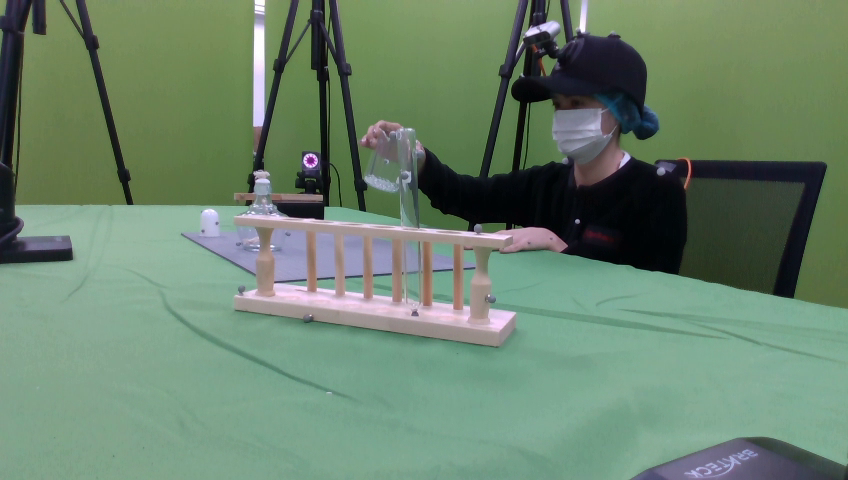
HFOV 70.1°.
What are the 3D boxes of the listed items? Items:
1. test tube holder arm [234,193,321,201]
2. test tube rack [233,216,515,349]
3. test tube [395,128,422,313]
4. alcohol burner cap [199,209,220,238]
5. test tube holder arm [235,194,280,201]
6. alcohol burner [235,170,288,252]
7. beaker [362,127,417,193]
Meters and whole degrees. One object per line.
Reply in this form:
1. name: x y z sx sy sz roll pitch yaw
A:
1. test tube holder arm: -0.299 -0.088 1.248 0.179 0.015 0.013 -1 16 -30
2. test tube rack: -0.045 0.029 0.526 0.241 0.085 0.067 5 7 19
3. test tube: -0.012 -0.015 0.491 0.017 0.150 0.017 -2 5 1
4. alcohol burner cap: -0.356 -0.027 1.002 0.034 0.048 0.034 2 7 0
5. test tube holder arm: -0.336 -0.086 1.221 0.088 0.015 0.010 -1 16 -29
6. alcohol burner: -0.236 -0.042 0.882 0.078 0.119 0.078 2 9 0
7. beaker: -0.065 -0.140 1.076 0.074 0.100 0.084 25 17 14
